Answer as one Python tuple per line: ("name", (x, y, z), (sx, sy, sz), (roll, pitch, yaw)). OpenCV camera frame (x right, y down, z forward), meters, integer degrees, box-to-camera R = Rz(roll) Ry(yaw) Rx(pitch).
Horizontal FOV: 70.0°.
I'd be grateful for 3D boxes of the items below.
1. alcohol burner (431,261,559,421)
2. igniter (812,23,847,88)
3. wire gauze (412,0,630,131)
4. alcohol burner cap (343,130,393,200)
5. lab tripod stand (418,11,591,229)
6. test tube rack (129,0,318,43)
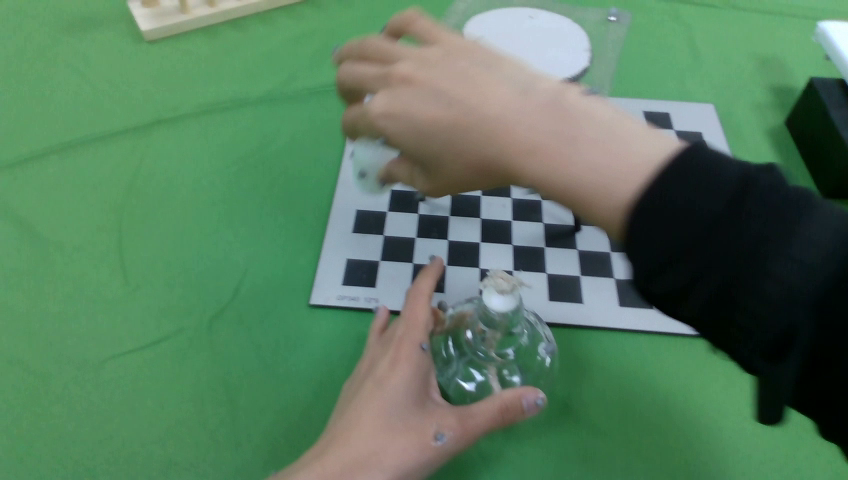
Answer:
("alcohol burner", (0.043, 0.056, 0.355), (0.078, 0.120, 0.077), (0, 48, 0))
("igniter", (0.376, -0.096, 0.487), (0.057, 0.025, 0.274), (2, 49, 4))
("wire gauze", (0.068, -0.128, 0.401), (0.124, 0.011, 0.121), (19, 52, 11))
("alcohol burner cap", (-0.035, -0.050, 0.383), (0.034, 0.048, 0.033), (3, 66, -7))
("lab tripod stand", (0.070, -0.088, 0.456), (0.148, 0.132, 0.147), (2, 50, -2))
("test tube rack", (-0.195, -0.296, 0.649), (0.243, 0.086, 0.066), (-23, 56, -19))
